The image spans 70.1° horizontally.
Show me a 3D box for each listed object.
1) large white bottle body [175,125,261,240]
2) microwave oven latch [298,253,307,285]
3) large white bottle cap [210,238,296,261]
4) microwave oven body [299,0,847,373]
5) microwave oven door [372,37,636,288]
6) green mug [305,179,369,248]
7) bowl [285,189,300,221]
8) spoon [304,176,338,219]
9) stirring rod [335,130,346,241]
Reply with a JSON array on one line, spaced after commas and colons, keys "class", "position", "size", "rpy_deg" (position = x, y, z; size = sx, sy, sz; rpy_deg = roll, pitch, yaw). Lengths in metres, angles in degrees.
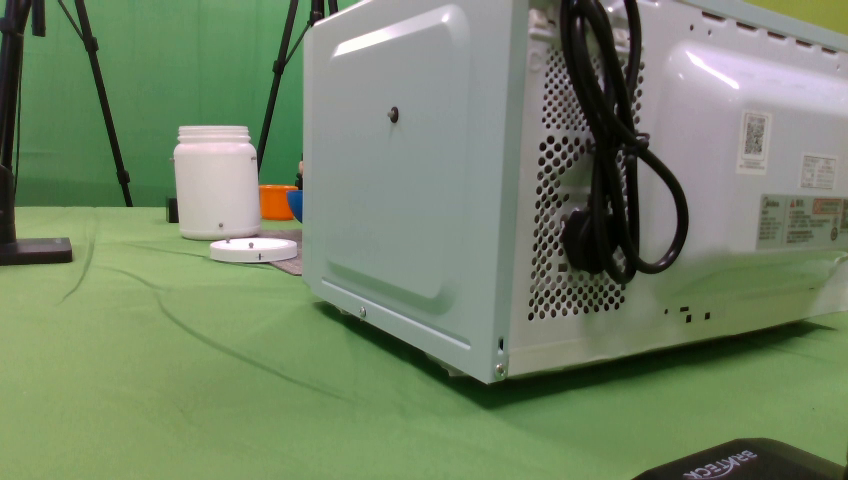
[{"class": "large white bottle body", "position": [-0.349, -0.100, 1.025], "size": [0.131, 0.184, 0.130], "rpy_deg": [-1, 9, 0]}, {"class": "microwave oven latch", "position": [-0.081, 0.027, 0.583], "size": [0.079, 0.029, 0.030], "rpy_deg": [-2, 8, -33]}, {"class": "large white bottle cap", "position": [-0.236, 0.012, 0.839], "size": [0.115, 0.018, 0.115], "rpy_deg": [1, 7, 0]}, {"class": "microwave oven body", "position": [0.152, -0.055, 0.542], "size": [0.444, 0.260, 0.324], "rpy_deg": [-2, 7, -33]}, {"class": "microwave oven door", "position": [0.109, -0.080, 0.686], "size": [0.358, 0.243, 0.039], "rpy_deg": [-2, 9, -33]}, {"class": "green mug", "position": [-0.133, -0.044, 0.977], "size": [0.092, 0.105, 0.126], "rpy_deg": [6, 8, 32]}, {"class": "bowl", "position": [-0.180, -0.051, 1.113], "size": [0.151, 0.077, 0.151], "rpy_deg": [2, 8, 0]}, {"class": "spoon", "position": [-0.201, -0.084, 1.146], "size": [0.042, 0.021, 0.193], "rpy_deg": [3, 30, -25]}, {"class": "stirring rod", "position": [-0.131, -0.085, 0.952], "size": [0.006, 0.176, 0.014], "rpy_deg": [-5, 13, -10]}]
